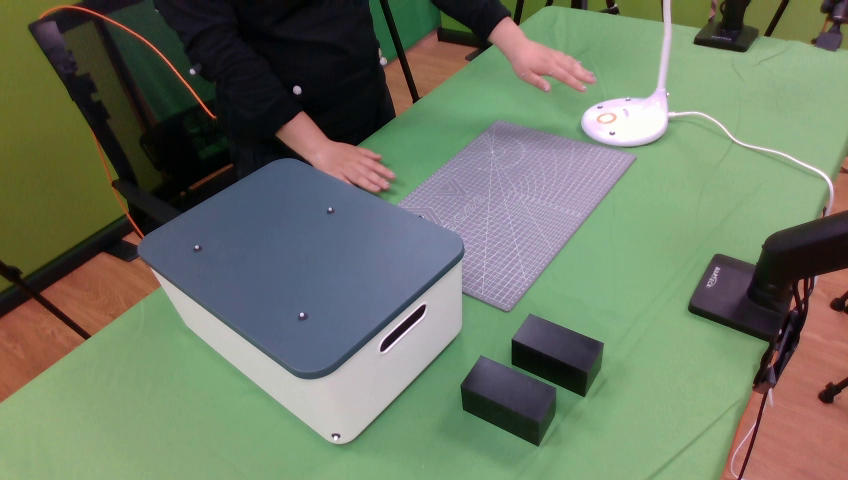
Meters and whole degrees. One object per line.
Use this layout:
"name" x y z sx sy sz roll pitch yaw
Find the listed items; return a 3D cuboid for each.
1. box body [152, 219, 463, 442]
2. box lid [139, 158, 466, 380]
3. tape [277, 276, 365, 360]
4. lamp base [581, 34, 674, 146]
"box body" -0.152 0.064 0.807 0.361 0.161 0.255 26 51 33
"box lid" -0.158 0.010 0.757 0.368 0.015 0.264 26 50 33
"tape" -0.140 0.106 0.832 0.117 0.053 0.116 -4 41 4
"lamp base" 0.392 -0.291 1.129 0.180 0.181 0.159 -11 41 -8
